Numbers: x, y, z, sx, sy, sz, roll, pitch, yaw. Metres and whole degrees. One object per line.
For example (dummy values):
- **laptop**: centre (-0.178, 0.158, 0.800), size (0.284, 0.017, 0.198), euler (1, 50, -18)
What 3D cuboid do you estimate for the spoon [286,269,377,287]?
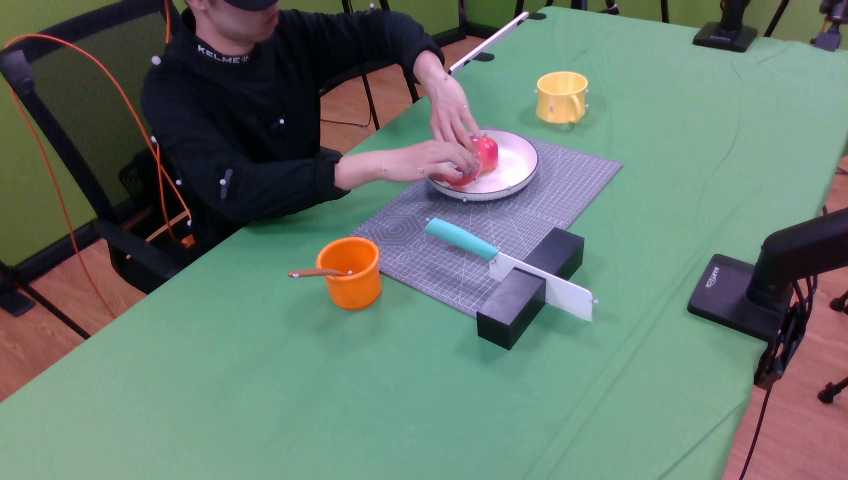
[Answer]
- **spoon**: centre (-0.125, 0.049, 0.831), size (0.041, 0.195, 0.021), euler (24, 93, 27)

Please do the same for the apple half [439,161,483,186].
- **apple half**: centre (0.069, -0.109, 1.027), size (0.081, 0.033, 0.081), euler (-16, -2, 0)

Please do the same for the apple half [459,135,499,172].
- **apple half**: centre (0.100, -0.162, 1.095), size (0.074, 0.053, 0.080), euler (3, 30, 5)

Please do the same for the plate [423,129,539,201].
- **plate**: centre (0.103, -0.133, 1.092), size (0.209, 0.038, 0.208), euler (-4, 40, 4)

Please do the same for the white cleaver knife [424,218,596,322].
- **white cleaver knife**: centre (0.114, 0.042, 0.865), size (0.284, 0.066, 0.021), euler (27, 47, 28)

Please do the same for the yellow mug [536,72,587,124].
- **yellow mug**: centre (0.284, -0.281, 1.222), size (0.100, 0.064, 0.130), euler (-16, 42, -9)
